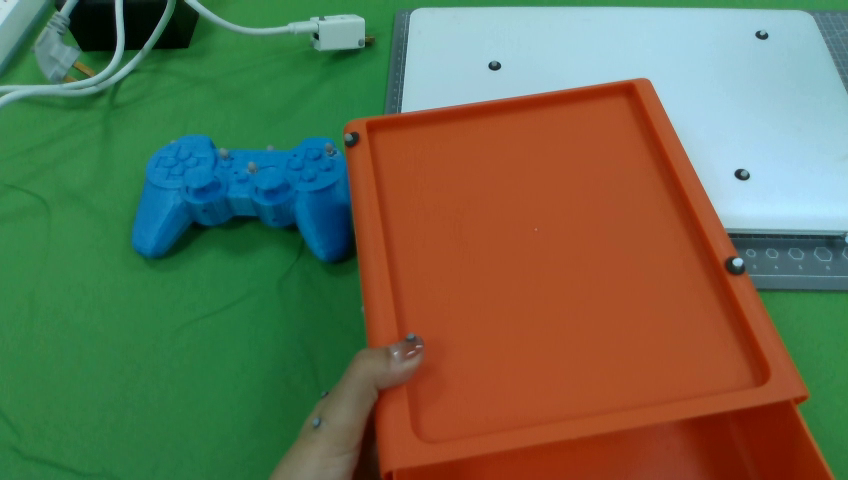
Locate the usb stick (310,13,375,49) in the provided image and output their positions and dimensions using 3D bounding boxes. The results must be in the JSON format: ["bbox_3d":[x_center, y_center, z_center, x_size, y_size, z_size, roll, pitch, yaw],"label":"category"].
[{"bbox_3d":[-0.071,-0.187,0.541,0.059,0.027,0.021,-14,34,-32],"label":"usb stick"}]

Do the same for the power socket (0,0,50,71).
[{"bbox_3d":[-0.408,-0.240,0.588,0.072,0.033,0.225,5,57,3],"label":"power socket"}]

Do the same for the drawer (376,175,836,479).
[{"bbox_3d":[0.075,0.064,0.322,0.195,0.074,0.209,-8,58,-4],"label":"drawer"}]

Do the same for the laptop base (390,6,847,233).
[{"bbox_3d":[0.157,-0.104,0.488,0.354,0.023,0.233,1,60,2],"label":"laptop base"}]

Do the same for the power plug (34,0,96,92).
[{"bbox_3d":[-0.298,-0.166,0.518,0.072,0.053,0.035,-52,35,4],"label":"power plug"}]

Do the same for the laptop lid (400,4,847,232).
[{"bbox_3d":[0.156,-0.108,0.477,0.356,0.013,0.239,3,59,4],"label":"laptop lid"}]

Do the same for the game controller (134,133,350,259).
[{"bbox_3d":[-0.128,-0.038,0.439,0.155,0.052,0.096,2,53,3],"label":"game controller"}]

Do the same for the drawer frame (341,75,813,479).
[{"bbox_3d":[0.064,0.019,0.350,0.202,0.083,0.211,-10,58,-4],"label":"drawer frame"}]
